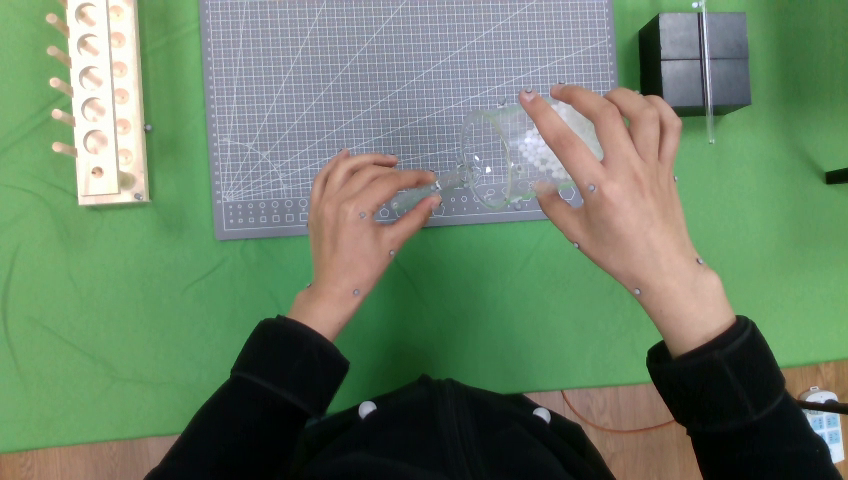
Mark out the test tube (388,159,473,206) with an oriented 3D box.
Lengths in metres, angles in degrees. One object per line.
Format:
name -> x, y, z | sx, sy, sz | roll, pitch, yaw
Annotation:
test tube -> 0.001, -0.049, 0.547 | 0.017, 0.150, 0.017 | 3, 82, -25

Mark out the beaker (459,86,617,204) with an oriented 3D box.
beaker -> 0.086, -0.073, 0.459 | 0.100, 0.084, 0.074 | -15, 87, -19

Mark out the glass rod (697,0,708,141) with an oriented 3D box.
glass rod -> 0.296, -0.205, 0.644 | 0.008, 0.008, 0.199 | -2, 90, -6

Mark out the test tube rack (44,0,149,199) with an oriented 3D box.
test tube rack -> -0.323, -0.166, 0.586 | 0.067, 0.085, 0.242 | -4, 90, -6
